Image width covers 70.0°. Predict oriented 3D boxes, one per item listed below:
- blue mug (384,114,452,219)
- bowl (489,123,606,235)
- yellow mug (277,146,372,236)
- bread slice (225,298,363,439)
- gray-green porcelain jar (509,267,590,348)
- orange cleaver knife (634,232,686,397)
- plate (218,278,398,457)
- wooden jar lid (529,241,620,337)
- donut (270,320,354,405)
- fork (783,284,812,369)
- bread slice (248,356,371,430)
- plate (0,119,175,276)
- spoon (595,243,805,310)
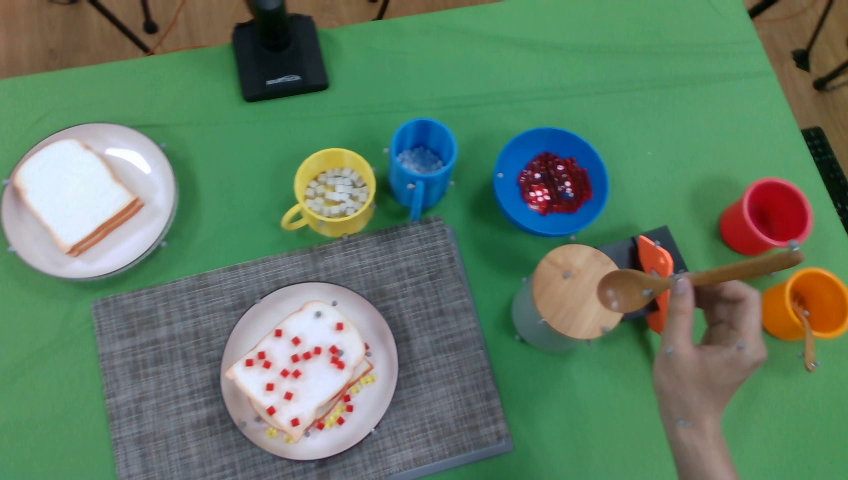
[{"bbox_3d":[-0.012,-0.085,0.778,0.082,0.106,0.116,6,73,-3],"label":"blue mug"},{"bbox_3d":[0.154,-0.070,0.804,0.151,0.077,0.150,2,73,-5],"label":"bowl"},{"bbox_3d":[-0.131,-0.054,0.777,0.131,0.064,0.099,-35,79,-13],"label":"yellow mug"},{"bbox_3d":[-0.136,0.131,0.670,0.107,0.018,0.134,40,68,2],"label":"bread slice"},{"bbox_3d":[0.164,0.074,0.737,0.106,0.127,0.105,2,73,-5],"label":"gray-green porcelain jar"},{"bbox_3d":[0.297,0.094,0.767,0.012,0.077,0.212,-15,102,-9],"label":"orange cleaver knife"},{"bbox_3d":[-0.136,0.150,0.726,0.209,0.038,0.208,2,73,-5],"label":"plate"},{"bbox_3d":[0.168,0.055,0.677,0.108,0.021,0.108,2,75,-8],"label":"wooden jar lid"},{"bbox_3d":[-0.128,0.141,0.700,0.099,0.048,0.098,9,65,-20],"label":"donut"},{"bbox_3d":[0.462,0.103,0.746,0.028,0.018,0.207,48,31,3],"label":"fork"},{"bbox_3d":[-0.143,0.162,0.726,0.104,0.019,0.131,41,70,8],"label":"bread slice"},{"bbox_3d":[-0.418,-0.052,0.762,0.208,0.039,0.206,2,73,-5],"label":"plate"},{"bbox_3d":[0.212,0.030,0.492,0.022,0.193,0.041,-17,87,-27],"label":"spoon"}]
